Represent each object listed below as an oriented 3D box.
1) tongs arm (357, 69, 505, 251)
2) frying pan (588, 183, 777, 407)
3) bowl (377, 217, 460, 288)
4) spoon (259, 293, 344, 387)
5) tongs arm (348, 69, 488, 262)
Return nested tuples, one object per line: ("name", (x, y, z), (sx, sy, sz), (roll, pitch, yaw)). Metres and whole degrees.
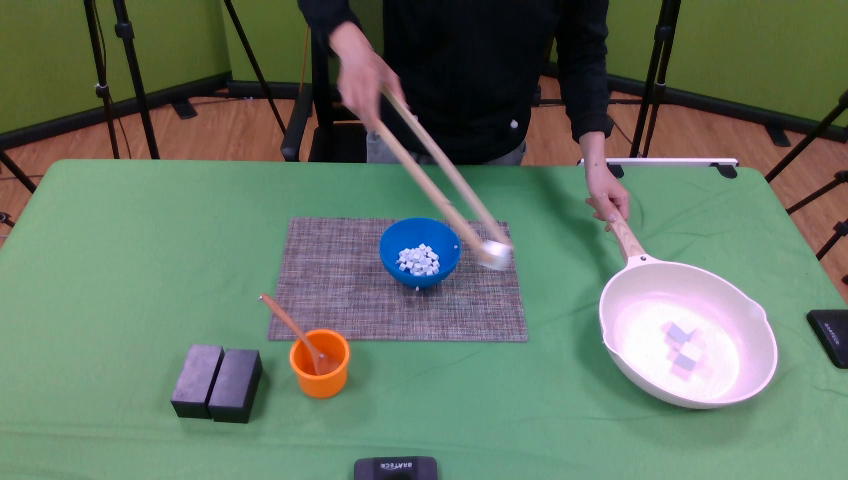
("tongs arm", (0.010, -0.137, 0.998), (0.028, 0.028, 0.386), (-32, 78, -21))
("frying pan", (0.412, 0.079, 1.097), (0.307, 0.103, 0.484), (-9, 56, -14))
("bowl", (-0.011, 0.036, 1.118), (0.151, 0.077, 0.150), (2, 46, -2))
("spoon", (-0.191, 0.155, 0.947), (0.021, 0.194, 0.041), (-13, 27, 50))
("tongs arm", (-0.010, -0.125, 0.987), (0.051, 0.026, 0.384), (-35, 80, -25))
